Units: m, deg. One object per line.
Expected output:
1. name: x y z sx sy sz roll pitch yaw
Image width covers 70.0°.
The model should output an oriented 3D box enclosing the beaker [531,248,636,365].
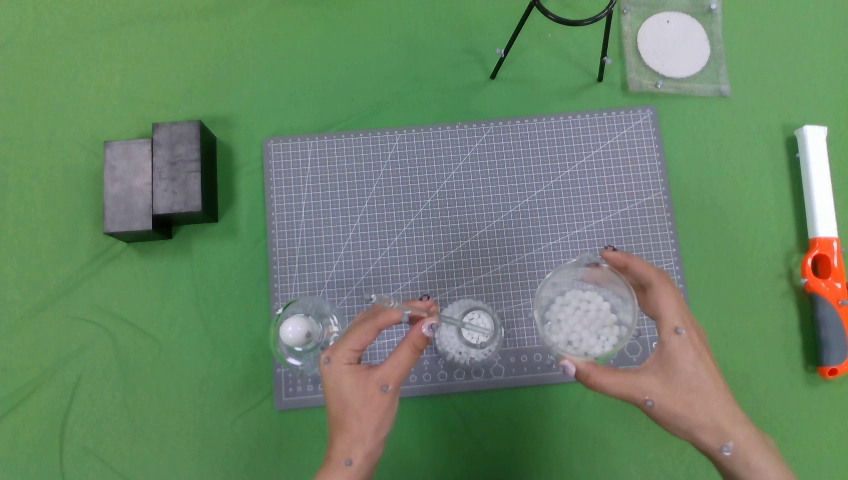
1. beaker: 0.125 0.059 0.487 0.074 0.101 0.083 1 73 11

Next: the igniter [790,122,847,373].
1. igniter: 0.432 0.004 0.662 0.057 0.025 0.275 2 80 -11

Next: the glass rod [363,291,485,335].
1. glass rod: 0.008 0.060 0.480 0.008 0.201 0.008 -8 72 26

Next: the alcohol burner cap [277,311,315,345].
1. alcohol burner cap: -0.119 0.081 0.556 0.034 0.048 0.034 1 83 -4

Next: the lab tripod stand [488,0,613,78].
1. lab tripod stand: 0.139 -0.237 0.647 0.148 0.132 0.148 0 82 0

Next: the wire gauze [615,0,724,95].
1. wire gauze: 0.290 -0.230 0.712 0.125 0.011 0.121 1 80 -3

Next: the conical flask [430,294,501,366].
1. conical flask: 0.044 0.085 0.591 0.075 0.122 0.075 0 79 0

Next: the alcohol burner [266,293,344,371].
1. alcohol burner: -0.120 0.088 0.592 0.078 0.119 0.077 0 79 2
